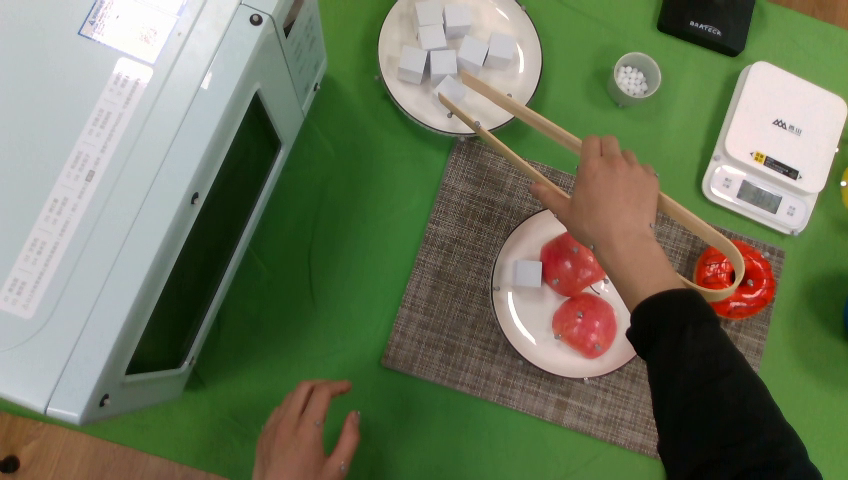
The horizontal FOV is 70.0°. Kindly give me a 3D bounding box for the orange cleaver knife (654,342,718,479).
[{"bbox_3d":[0.320,0.230,0.732,0.077,0.012,0.210,2,81,-10],"label":"orange cleaver knife"}]

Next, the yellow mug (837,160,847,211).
[{"bbox_3d":[0.600,-0.089,0.784,0.100,0.064,0.130,-13,83,-6],"label":"yellow mug"}]

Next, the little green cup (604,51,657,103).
[{"bbox_3d":[0.264,-0.208,0.783,0.061,0.039,0.061,1,81,-5],"label":"little green cup"}]

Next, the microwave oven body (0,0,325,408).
[{"bbox_3d":[-0.337,-0.107,0.595,0.326,0.260,0.440,22,81,-2],"label":"microwave oven body"}]

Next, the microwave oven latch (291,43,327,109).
[{"bbox_3d":[-0.143,-0.200,0.724,0.030,0.029,0.079,25,81,-2],"label":"microwave oven latch"}]

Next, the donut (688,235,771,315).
[{"bbox_3d":[0.377,0.043,0.751,0.099,0.048,0.098,1,82,-3],"label":"donut"}]

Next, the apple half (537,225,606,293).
[{"bbox_3d":[0.178,0.019,0.723,0.081,0.053,0.074,-25,81,-9],"label":"apple half"}]

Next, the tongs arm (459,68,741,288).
[{"bbox_3d":[0.171,-0.081,0.647,0.028,0.028,0.384,-40,63,-15],"label":"tongs arm"}]

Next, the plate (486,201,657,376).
[{"bbox_3d":[0.175,0.057,0.733,0.209,0.038,0.208,1,82,-5],"label":"plate"}]

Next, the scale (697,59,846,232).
[{"bbox_3d":[0.455,-0.125,0.793,0.149,0.031,0.200,24,81,-1],"label":"scale"}]

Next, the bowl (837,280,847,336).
[{"bbox_3d":[0.576,0.089,0.751,0.151,0.077,0.151,1,82,-5],"label":"bowl"}]

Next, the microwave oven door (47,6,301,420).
[{"bbox_3d":[-0.217,-0.015,0.587,0.039,0.244,0.355,22,80,-2],"label":"microwave oven door"}]

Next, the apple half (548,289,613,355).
[{"bbox_3d":[0.192,0.095,0.723,0.081,0.033,0.081,0,82,-1],"label":"apple half"}]

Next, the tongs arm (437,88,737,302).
[{"bbox_3d":[0.152,-0.064,0.642,0.051,0.027,0.381,-39,63,-10],"label":"tongs arm"}]

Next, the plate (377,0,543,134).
[{"bbox_3d":[0.044,-0.230,0.765,0.208,0.039,0.207,1,82,-5],"label":"plate"}]
